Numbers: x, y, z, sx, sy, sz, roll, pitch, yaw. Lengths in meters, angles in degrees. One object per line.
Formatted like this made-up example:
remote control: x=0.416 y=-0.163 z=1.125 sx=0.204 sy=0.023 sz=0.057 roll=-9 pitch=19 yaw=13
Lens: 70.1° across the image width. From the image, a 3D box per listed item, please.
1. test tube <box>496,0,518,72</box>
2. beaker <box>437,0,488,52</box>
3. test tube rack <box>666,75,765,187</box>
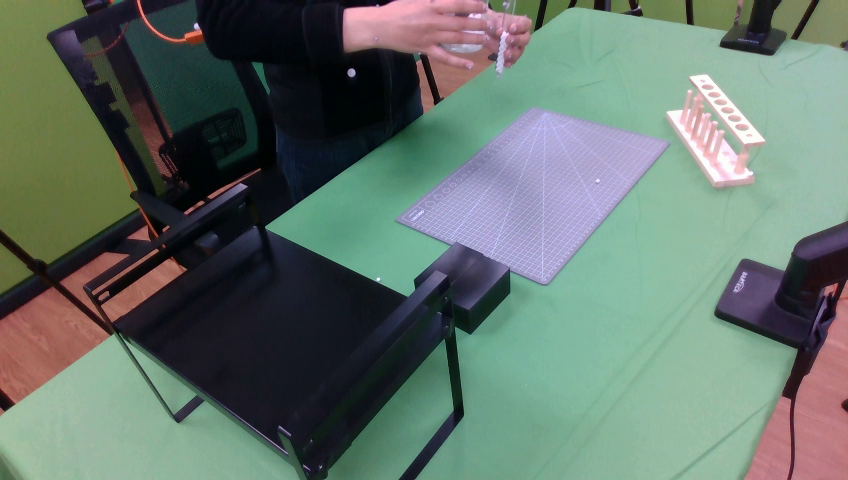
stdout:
test tube: x=0.133 y=-0.338 z=0.967 sx=0.017 sy=0.150 sz=0.017 roll=4 pitch=44 yaw=-3
beaker: x=0.059 y=-0.334 z=0.888 sx=0.084 sy=0.100 sz=0.073 roll=-23 pitch=41 yaw=-37
test tube rack: x=0.512 y=-0.201 z=1.082 sx=0.067 sy=0.085 sz=0.241 roll=-6 pitch=41 yaw=2
